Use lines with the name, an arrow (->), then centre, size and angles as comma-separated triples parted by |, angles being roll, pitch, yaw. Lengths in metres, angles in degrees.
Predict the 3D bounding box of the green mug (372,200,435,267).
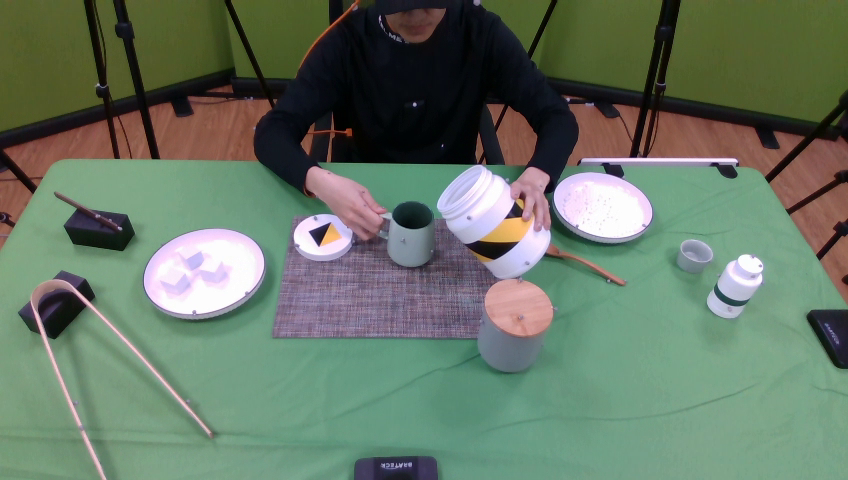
green mug -> -0.040, -0.015, 1.144 | 0.125, 0.105, 0.092 | 15, 48, 10

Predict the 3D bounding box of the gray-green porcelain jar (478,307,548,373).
gray-green porcelain jar -> 0.144, 0.148, 0.989 | 0.106, 0.127, 0.105 | 2, 50, -2

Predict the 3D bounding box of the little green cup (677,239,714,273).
little green cup -> 0.530, 0.033, 1.189 | 0.061, 0.039, 0.061 | 2, 47, -2

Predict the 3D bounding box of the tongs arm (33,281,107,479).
tongs arm -> -0.517, 0.214, 0.909 | 0.051, 0.026, 0.383 | -29, 63, -27

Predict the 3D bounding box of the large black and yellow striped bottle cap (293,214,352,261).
large black and yellow striped bottle cap -> -0.198, -0.007, 1.187 | 0.115, 0.019, 0.114 | 3, 47, -3

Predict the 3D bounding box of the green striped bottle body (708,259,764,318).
green striped bottle body -> 0.563, 0.081, 1.089 | 0.063, 0.120, 0.063 | 2, 46, -2

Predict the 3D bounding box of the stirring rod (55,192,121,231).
stirring rod -> -0.632, -0.055, 1.138 | 0.175, 0.014, 0.006 | 24, 50, 19

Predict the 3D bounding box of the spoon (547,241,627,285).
spoon -> 0.304, 0.040, 1.178 | 0.193, 0.022, 0.041 | 25, 35, 19

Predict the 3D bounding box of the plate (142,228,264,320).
plate -> -0.394, 0.064, 1.095 | 0.208, 0.039, 0.206 | 2, 46, -2

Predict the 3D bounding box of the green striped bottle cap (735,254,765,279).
green striped bottle cap -> 0.566, 0.046, 1.051 | 0.044, 0.020, 0.044 | 0, 45, 0

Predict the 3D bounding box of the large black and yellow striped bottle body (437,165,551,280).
large black and yellow striped bottle body -> 0.123, -0.033, 1.078 | 0.185, 0.131, 0.130 | 44, 45, -19

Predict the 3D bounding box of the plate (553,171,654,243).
plate -> 0.373, -0.066, 1.274 | 0.209, 0.038, 0.208 | 2, 46, -2

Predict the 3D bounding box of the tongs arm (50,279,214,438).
tongs arm -> -0.459, 0.178, 0.949 | 0.386, 0.028, 0.028 | 37, 60, 17

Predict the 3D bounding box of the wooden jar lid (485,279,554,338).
wooden jar lid -> 0.147, 0.108, 0.940 | 0.108, 0.021, 0.107 | 4, 48, -4
